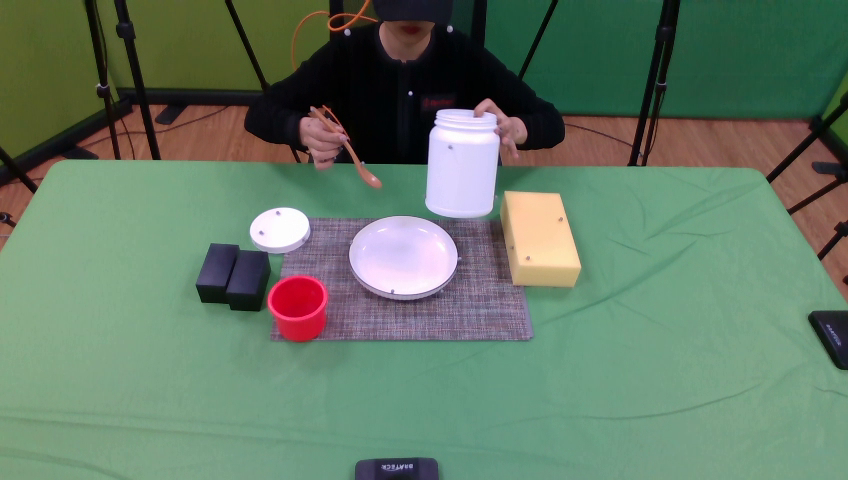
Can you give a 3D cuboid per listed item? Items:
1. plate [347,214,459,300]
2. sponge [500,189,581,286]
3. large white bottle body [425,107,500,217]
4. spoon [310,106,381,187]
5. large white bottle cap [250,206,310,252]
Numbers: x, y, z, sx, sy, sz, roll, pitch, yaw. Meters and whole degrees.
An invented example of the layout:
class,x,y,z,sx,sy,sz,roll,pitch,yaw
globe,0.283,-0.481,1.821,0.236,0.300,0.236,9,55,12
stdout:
class,x,y,z,sx,sy,sz,roll,pitch,yaw
plate,-0.040,0.034,1.145,0.209,0.038,0.208,2,47,-2
sponge,0.224,-0.007,1.192,0.118,0.061,0.205,1,47,-6
large white bottle body,0.071,-0.147,1.124,0.130,0.185,0.130,3,20,-1
spoon,-0.140,-0.168,1.096,0.021,0.195,0.041,-26,31,19
large white bottle cap,-0.284,-0.023,1.197,0.115,0.018,0.114,1,46,0
